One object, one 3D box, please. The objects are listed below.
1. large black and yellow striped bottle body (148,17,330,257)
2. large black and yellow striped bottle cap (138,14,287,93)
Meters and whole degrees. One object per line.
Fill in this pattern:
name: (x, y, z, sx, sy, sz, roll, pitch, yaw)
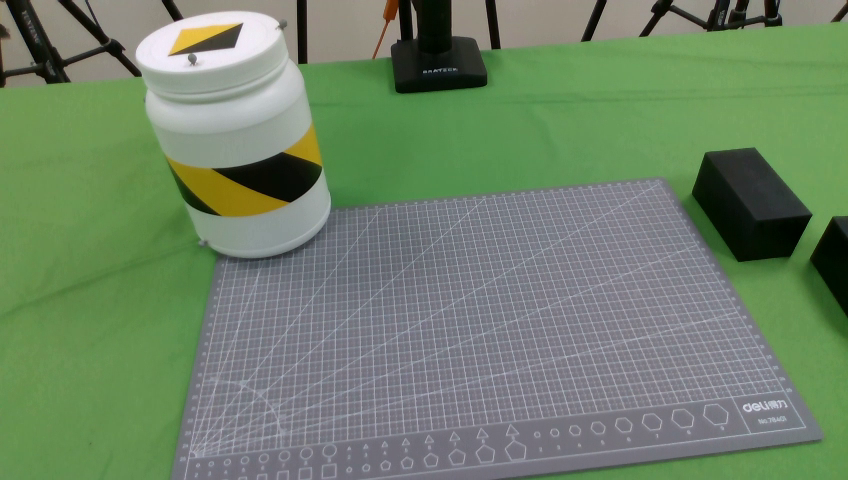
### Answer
large black and yellow striped bottle body: (-0.162, -0.090, 0.542, 0.131, 0.186, 0.129, -2, 42, 2)
large black and yellow striped bottle cap: (-0.168, -0.152, 0.485, 0.115, 0.019, 0.114, -3, 41, 3)
